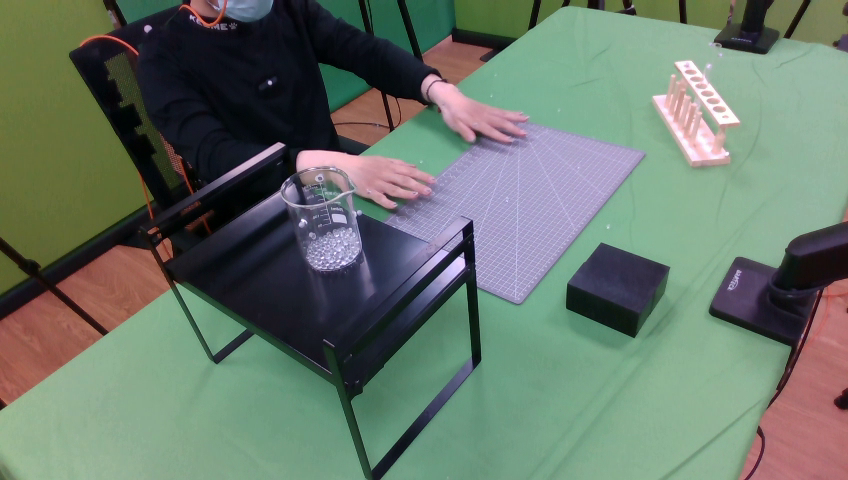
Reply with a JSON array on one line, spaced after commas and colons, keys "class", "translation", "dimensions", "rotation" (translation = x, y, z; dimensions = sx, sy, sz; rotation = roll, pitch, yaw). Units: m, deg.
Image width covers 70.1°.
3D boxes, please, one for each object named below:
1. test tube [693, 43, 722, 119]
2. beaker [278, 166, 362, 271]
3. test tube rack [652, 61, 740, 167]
[{"class": "test tube", "translation": [0.513, -0.287, 1.104], "dimensions": [0.017, 0.151, 0.017], "rotation": [-1, 45, 2]}, {"class": "beaker", "translation": [-0.109, -0.022, 0.675], "dimensions": [0.084, 0.101, 0.073], "rotation": [-2, 41, 5]}, {"class": "test tube rack", "translation": [0.499, -0.242, 1.130], "dimensions": [0.067, 0.085, 0.241], "rotation": [-5, 41, 4]}]
